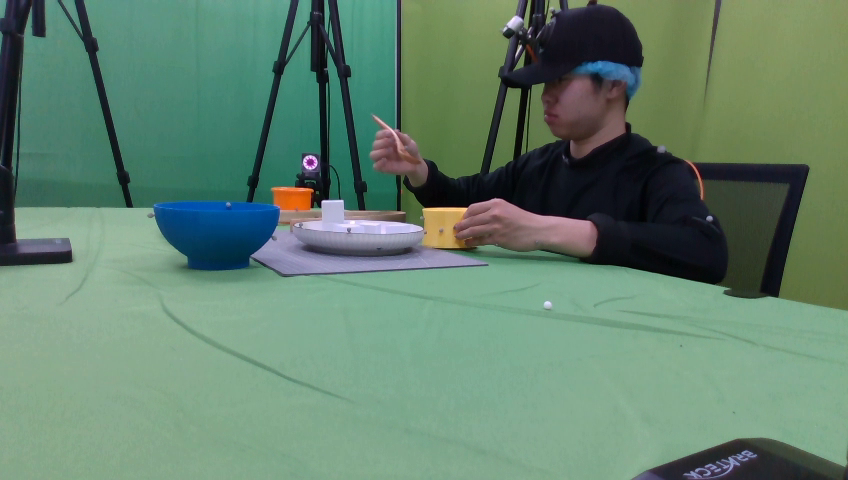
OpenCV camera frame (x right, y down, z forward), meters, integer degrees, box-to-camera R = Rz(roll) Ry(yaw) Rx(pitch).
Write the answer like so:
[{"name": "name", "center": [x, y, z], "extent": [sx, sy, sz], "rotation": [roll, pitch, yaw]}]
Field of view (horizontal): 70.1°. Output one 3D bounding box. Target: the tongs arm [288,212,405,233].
[{"name": "tongs arm", "center": [-0.146, -0.039, 1.281], "extent": [0.028, 0.028, 0.389], "rotation": [4, 6, 33]}]

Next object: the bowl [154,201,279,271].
[{"name": "bowl", "center": [-0.263, -0.005, 0.773], "extent": [0.151, 0.077, 0.151], "rotation": [3, 8, 0]}]

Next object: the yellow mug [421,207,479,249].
[{"name": "yellow mug", "center": [0.053, -0.022, 1.040], "extent": [0.100, 0.064, 0.130], "rotation": [-4, 8, -31]}]

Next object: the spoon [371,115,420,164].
[{"name": "spoon", "center": [-0.058, -0.194, 1.148], "extent": [0.042, 0.021, 0.193], "rotation": [25, 22, -42]}]

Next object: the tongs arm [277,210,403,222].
[{"name": "tongs arm", "center": [-0.207, -0.051, 1.333], "extent": [0.387, 0.026, 0.050], "rotation": [-2, 9, -44]}]

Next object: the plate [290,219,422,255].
[{"name": "plate", "center": [-0.108, -0.005, 0.963], "extent": [0.208, 0.039, 0.207], "rotation": [3, 7, 0]}]
